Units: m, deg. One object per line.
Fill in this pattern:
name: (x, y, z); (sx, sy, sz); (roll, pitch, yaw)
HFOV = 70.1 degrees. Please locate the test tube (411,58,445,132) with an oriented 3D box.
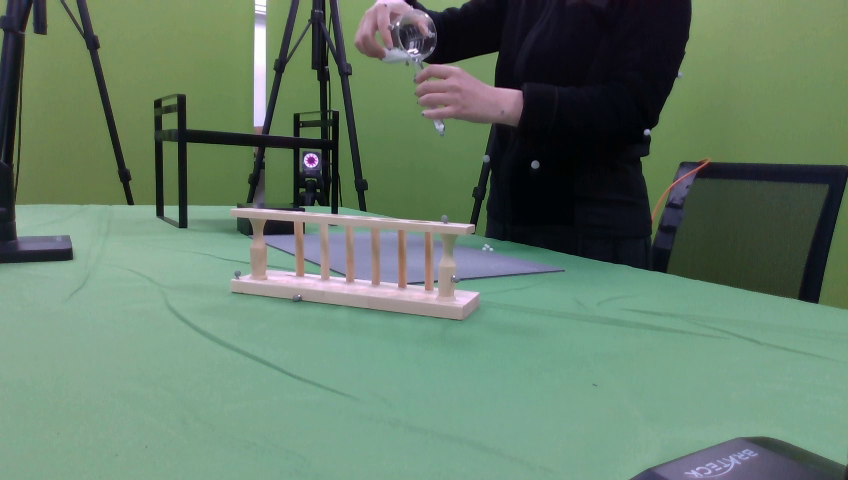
test tube: (0.006, -0.225, 0.936); (0.017, 0.149, 0.017); (-14, -29, -7)

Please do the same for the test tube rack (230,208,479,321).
test tube rack: (-0.069, 0.017, 0.598); (0.242, 0.085, 0.067); (5, 8, 18)

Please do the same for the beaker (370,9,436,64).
beaker: (-0.037, -0.331, 1.003); (0.074, 0.084, 0.100); (-6, 12, -33)
